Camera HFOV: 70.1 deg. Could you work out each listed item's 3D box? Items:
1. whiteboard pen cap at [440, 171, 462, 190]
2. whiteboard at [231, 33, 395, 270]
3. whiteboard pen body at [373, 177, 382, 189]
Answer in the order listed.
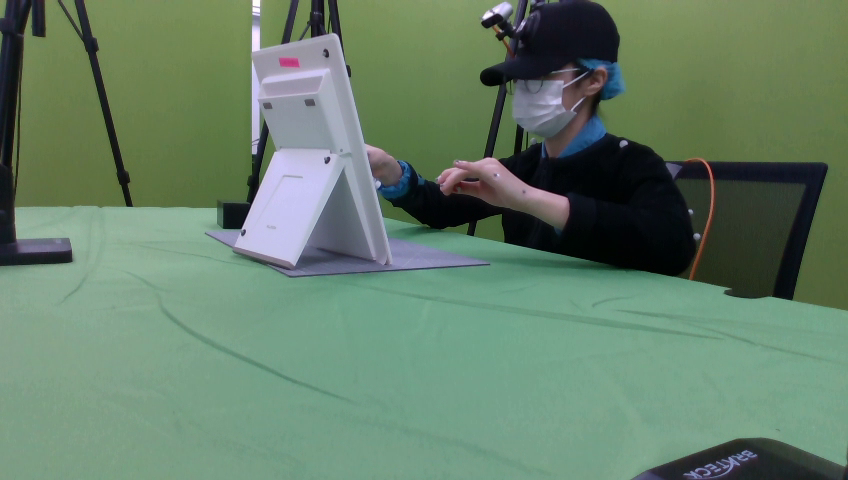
[{"bbox_3d":[0.040,-0.088,0.892,0.017,0.017,0.032,-5,31,-42],"label":"whiteboard pen cap"},{"bbox_3d":[-0.193,-0.094,0.805,0.144,0.305,0.216,-28,25,-35],"label":"whiteboard"},{"bbox_3d":[-0.131,-0.134,1.082,0.141,0.017,0.017,35,-11,-31],"label":"whiteboard pen body"}]
